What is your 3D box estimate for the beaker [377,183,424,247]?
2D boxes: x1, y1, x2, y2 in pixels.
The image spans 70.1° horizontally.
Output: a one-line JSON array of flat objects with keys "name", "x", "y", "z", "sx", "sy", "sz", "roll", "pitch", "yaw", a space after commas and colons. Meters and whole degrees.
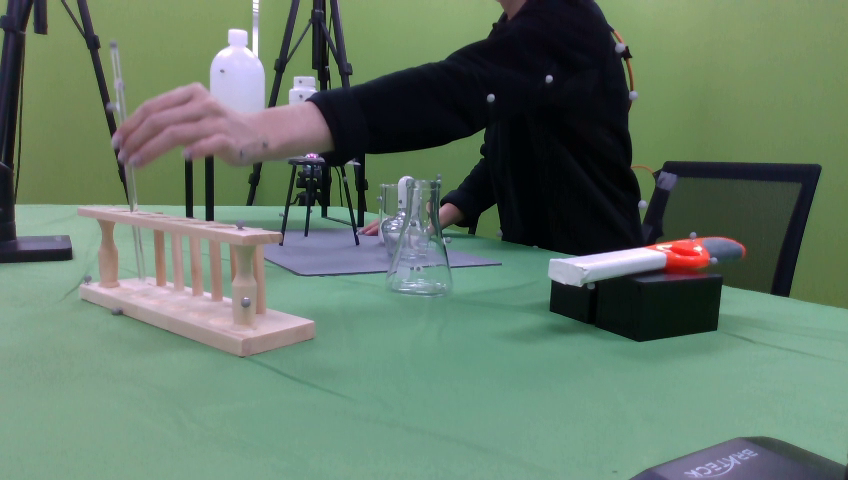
[{"name": "beaker", "x": -0.037, "y": -0.041, "z": 0.995, "sx": 0.074, "sy": 0.100, "sz": 0.083, "roll": -5, "pitch": 11, "yaw": -44}]

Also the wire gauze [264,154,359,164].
[{"name": "wire gauze", "x": -0.181, "y": -0.129, "z": 0.969, "sx": 0.126, "sy": 0.011, "sz": 0.121, "roll": -1, "pitch": 6, "yaw": -27}]

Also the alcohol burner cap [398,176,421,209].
[{"name": "alcohol burner cap", "x": -0.023, "y": -0.068, "z": 0.865, "sx": 0.034, "sy": 0.048, "sz": 0.034, "roll": -5, "pitch": 7, "yaw": 1}]

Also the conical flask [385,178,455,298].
[{"name": "conical flask", "x": -0.002, "y": -0.004, "z": 0.639, "sx": 0.075, "sy": 0.122, "sz": 0.075, "roll": 2, "pitch": 7, "yaw": 0}]

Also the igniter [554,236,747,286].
[{"name": "igniter", "x": 0.221, "y": 0.017, "z": 0.558, "sx": 0.278, "sy": 0.025, "sz": 0.057, "roll": -5, "pitch": 14, "yaw": -39}]

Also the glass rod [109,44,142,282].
[{"name": "glass rod", "x": -0.251, "y": -0.063, "z": 0.509, "sx": 0.008, "sy": 0.199, "sz": 0.008, "roll": -3, "pitch": 6, "yaw": 1}]

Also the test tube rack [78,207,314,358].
[{"name": "test tube rack", "x": -0.197, "y": 0.023, "z": 0.499, "sx": 0.241, "sy": 0.085, "sz": 0.067, "roll": 8, "pitch": 8, "yaw": 37}]

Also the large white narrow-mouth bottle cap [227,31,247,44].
[{"name": "large white narrow-mouth bottle cap", "x": -0.360, "y": -0.388, "z": 1.166, "sx": 0.038, "sy": 0.024, "sz": 0.037, "roll": 1, "pitch": 6, "yaw": 0}]

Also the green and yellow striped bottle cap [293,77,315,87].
[{"name": "green and yellow striped bottle cap", "x": -0.247, "y": -0.326, "z": 1.251, "sx": 0.045, "sy": 0.020, "sz": 0.045, "roll": 0, "pitch": 10, "yaw": 0}]

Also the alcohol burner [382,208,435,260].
[{"name": "alcohol burner", "x": -0.023, "y": -0.032, "z": 0.872, "sx": 0.078, "sy": 0.119, "sz": 0.078, "roll": 0, "pitch": 6, "yaw": 0}]

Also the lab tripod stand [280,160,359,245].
[{"name": "lab tripod stand", "x": -0.176, "y": -0.062, "z": 0.973, "sx": 0.148, "sy": 0.131, "sz": 0.148, "roll": 1, "pitch": 7, "yaw": 0}]

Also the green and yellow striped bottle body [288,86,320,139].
[{"name": "green and yellow striped bottle body", "x": -0.250, "y": -0.272, "z": 1.259, "sx": 0.063, "sy": 0.119, "sz": 0.063, "roll": 2, "pitch": 8, "yaw": 0}]

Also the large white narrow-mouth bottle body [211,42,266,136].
[{"name": "large white narrow-mouth bottle body", "x": -0.360, "y": -0.303, "z": 1.175, "sx": 0.102, "sy": 0.194, "sz": 0.102, "roll": 1, "pitch": 6, "yaw": 0}]
